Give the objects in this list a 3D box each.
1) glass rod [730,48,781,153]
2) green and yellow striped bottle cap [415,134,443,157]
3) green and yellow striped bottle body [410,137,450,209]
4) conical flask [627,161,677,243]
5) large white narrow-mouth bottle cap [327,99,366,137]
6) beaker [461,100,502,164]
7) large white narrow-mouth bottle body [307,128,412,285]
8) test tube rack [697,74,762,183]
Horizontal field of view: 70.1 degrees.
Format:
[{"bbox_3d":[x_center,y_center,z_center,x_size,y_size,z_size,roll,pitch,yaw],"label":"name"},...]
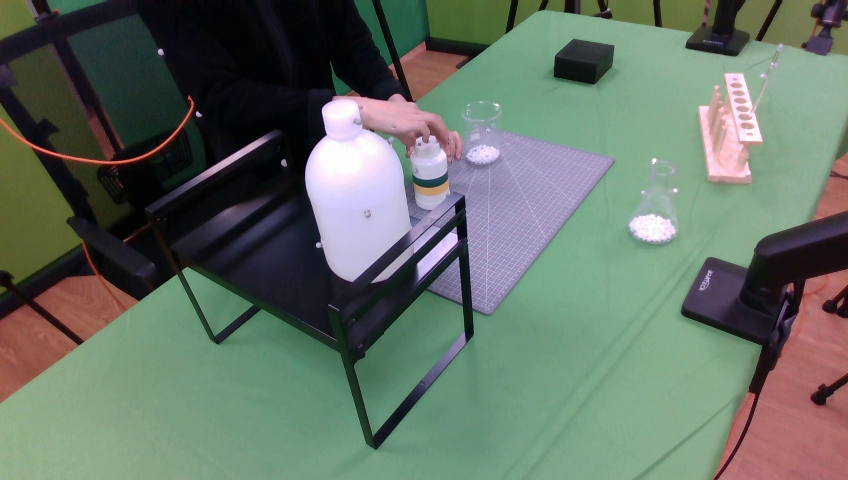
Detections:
[{"bbox_3d":[0.554,-0.228,1.015,0.008,0.200,0.008,1,44,-1],"label":"glass rod"},{"bbox_3d":[0.008,-0.156,0.998,0.045,0.020,0.045,-10,38,9],"label":"green and yellow striped bottle cap"},{"bbox_3d":[0.010,-0.117,1.032,0.063,0.120,0.063,-4,40,4],"label":"green and yellow striped bottle body"},{"bbox_3d":[0.355,-0.061,0.921,0.075,0.122,0.075,-4,41,4],"label":"conical flask"},{"bbox_3d":[-0.075,-0.118,0.582,0.038,0.024,0.037,-3,40,3],"label":"large white narrow-mouth bottle cap"},{"bbox_3d":[0.111,-0.200,1.132,0.084,0.100,0.073,-27,45,-22],"label":"beaker"},{"bbox_3d":[-0.070,-0.051,0.638,0.102,0.195,0.101,-3,40,3],"label":"large white narrow-mouth bottle body"},{"bbox_3d":[0.547,-0.208,1.095,0.066,0.085,0.242,5,42,15],"label":"test tube rack"}]
